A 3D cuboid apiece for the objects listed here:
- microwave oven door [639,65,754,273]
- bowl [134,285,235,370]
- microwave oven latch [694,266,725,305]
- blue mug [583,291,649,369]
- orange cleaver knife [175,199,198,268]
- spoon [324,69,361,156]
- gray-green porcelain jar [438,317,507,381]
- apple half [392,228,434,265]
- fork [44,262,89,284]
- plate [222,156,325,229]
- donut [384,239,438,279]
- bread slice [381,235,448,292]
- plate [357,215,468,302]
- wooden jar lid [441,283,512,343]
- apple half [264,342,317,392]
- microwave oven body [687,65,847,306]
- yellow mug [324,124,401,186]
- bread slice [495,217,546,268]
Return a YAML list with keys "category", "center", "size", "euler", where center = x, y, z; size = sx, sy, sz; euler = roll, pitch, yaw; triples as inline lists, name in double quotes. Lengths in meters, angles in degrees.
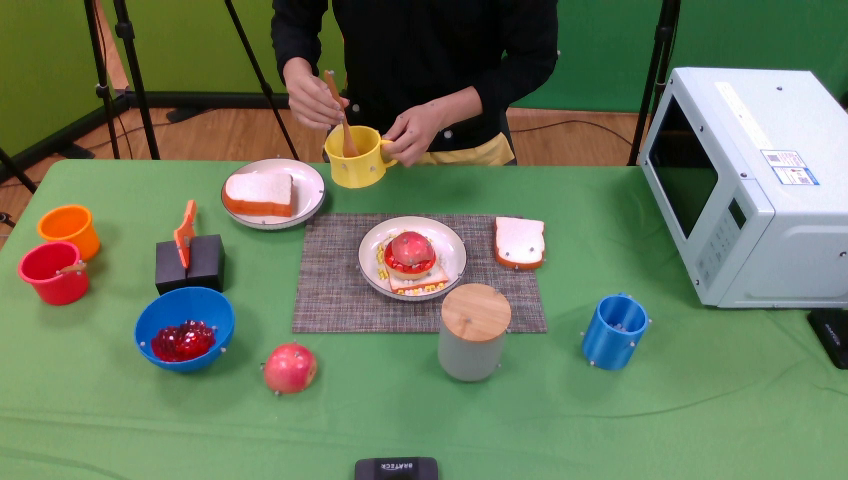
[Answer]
- category: "microwave oven door"
  center: [0.522, -0.147, 1.193]
  size: [0.039, 0.245, 0.353]
  euler: [0, 47, -3]
- category: "bowl"
  center: [-0.377, 0.155, 0.981]
  size: [0.151, 0.077, 0.150]
  euler: [2, 46, -2]
- category: "microwave oven latch"
  center: [0.523, 0.082, 1.115]
  size: [0.030, 0.029, 0.078]
  euler: [3, 46, 0]
- category: "blue mug"
  center: [0.324, 0.142, 1.023]
  size: [0.082, 0.106, 0.116]
  euler: [15, 47, 11]
- category: "orange cleaver knife"
  center: [-0.438, -0.017, 1.138]
  size: [0.012, 0.077, 0.210]
  euler: [-14, 27, -7]
- category: "spoon"
  center: [-0.135, -0.198, 1.007]
  size: [0.041, 0.195, 0.021]
  euler: [17, 50, 29]
- category: "gray-green porcelain jar"
  center: [0.076, 0.158, 0.977]
  size: [0.106, 0.127, 0.105]
  euler: [2, 47, -2]
- category: "apple half"
  center: [-0.020, 0.004, 1.083]
  size: [0.081, 0.033, 0.081]
  euler: [6, 51, -7]
- category: "fork"
  center: [-0.598, 0.054, 1.014]
  size: [0.207, 0.019, 0.028]
  euler: [-15, 29, 45]
- category: "plate"
  center: [-0.308, -0.095, 1.251]
  size: [0.209, 0.038, 0.208]
  euler: [2, 47, -2]
- category: "donut"
  center: [-0.025, 0.029, 1.110]
  size: [0.099, 0.048, 0.098]
  euler: [2, 46, -2]
- category: "bread slice"
  center: [-0.027, 0.040, 1.141]
  size: [0.107, 0.018, 0.133]
  euler: [-12, 49, -15]
- category: "plate"
  center: [-0.022, 0.037, 1.141]
  size: [0.208, 0.039, 0.206]
  euler: [2, 46, -2]
- category: "wooden jar lid"
  center: [0.080, 0.114, 0.931]
  size: [0.108, 0.021, 0.107]
  euler: [1, 49, -1]
- category: "apple half"
  center: [-0.214, 0.198, 0.970]
  size: [0.074, 0.053, 0.080]
  euler: [19, 48, 10]
- category: "microwave oven body"
  center: [0.669, -0.111, 1.176]
  size: [0.326, 0.261, 0.439]
  euler: [0, 46, -3]
- category: "yellow mug"
  center: [-0.105, -0.152, 1.070]
  size: [0.131, 0.064, 0.099]
  euler: [-6, 44, 0]
- category: "bread slice"
  center: [0.194, 0.002, 1.205]
  size: [0.105, 0.019, 0.131]
  euler: [5, 45, 2]
